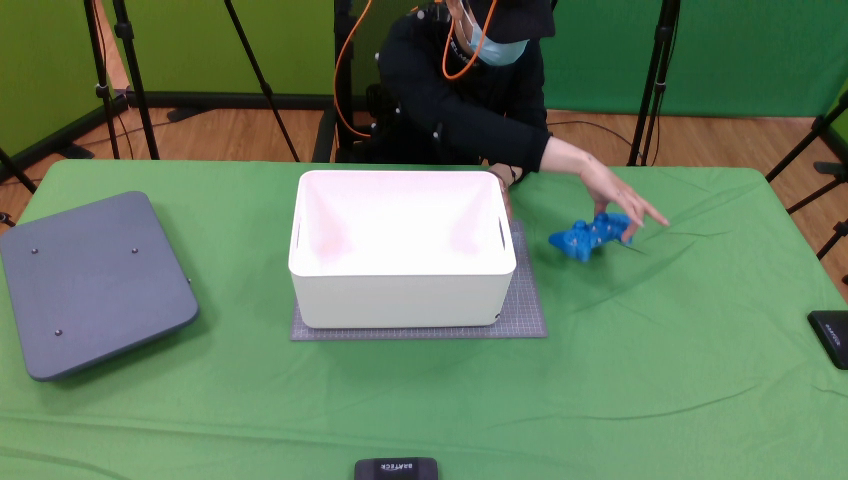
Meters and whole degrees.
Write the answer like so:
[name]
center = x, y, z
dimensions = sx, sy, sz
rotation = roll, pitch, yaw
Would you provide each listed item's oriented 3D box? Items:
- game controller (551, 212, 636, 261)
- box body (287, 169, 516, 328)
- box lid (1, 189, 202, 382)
[game controller]
center = 0.329, -0.017, 1.158
dimensions = 0.155, 0.052, 0.096
rotation = -20, 38, -11
[box body]
center = -0.040, 0.015, 1.075
dimensions = 0.364, 0.161, 0.252
rotation = -1, 47, -4
[box lid]
center = -0.565, 0.058, 1.050
dimensions = 0.263, 0.015, 0.369
rotation = -23, 52, -23
